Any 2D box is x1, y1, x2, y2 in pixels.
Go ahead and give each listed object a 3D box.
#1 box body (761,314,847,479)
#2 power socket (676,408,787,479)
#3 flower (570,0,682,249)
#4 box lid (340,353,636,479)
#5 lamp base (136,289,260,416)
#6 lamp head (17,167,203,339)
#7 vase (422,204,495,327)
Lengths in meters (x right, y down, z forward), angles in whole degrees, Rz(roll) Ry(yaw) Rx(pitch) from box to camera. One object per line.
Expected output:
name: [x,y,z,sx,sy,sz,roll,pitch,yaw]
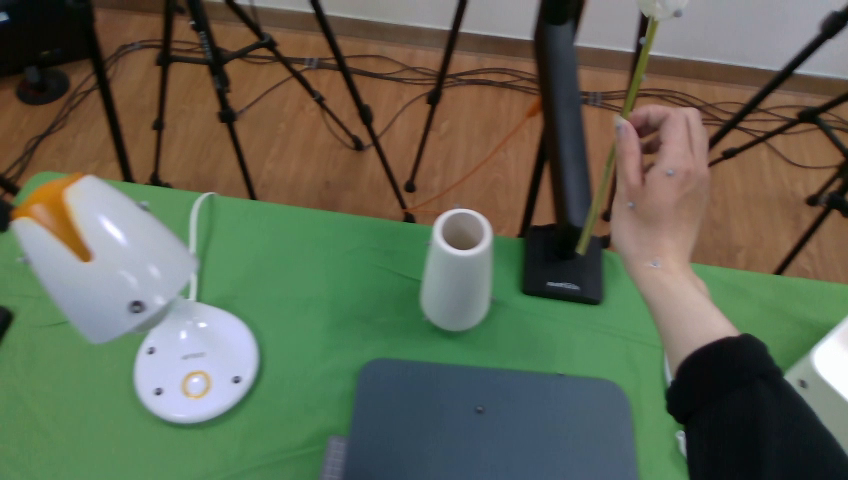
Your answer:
box body: [0.637,0.237,0.721,0.254,0.161,0.360,-30,64,-19]
power socket: [0.411,0.311,0.744,0.072,0.033,0.224,-26,62,-18]
flower: [0.159,-0.092,0.507,0.044,0.365,0.038,-17,58,-10]
box lid: [0.085,0.279,0.764,0.371,0.015,0.261,5,58,1]
lamp base: [-0.306,0.107,0.757,0.161,0.182,0.177,-18,58,-13]
lamp head: [-0.264,0.001,0.499,0.112,0.124,0.111,-27,22,12]
vase: [0.050,0.037,0.805,0.098,0.201,0.097,2,57,-2]
